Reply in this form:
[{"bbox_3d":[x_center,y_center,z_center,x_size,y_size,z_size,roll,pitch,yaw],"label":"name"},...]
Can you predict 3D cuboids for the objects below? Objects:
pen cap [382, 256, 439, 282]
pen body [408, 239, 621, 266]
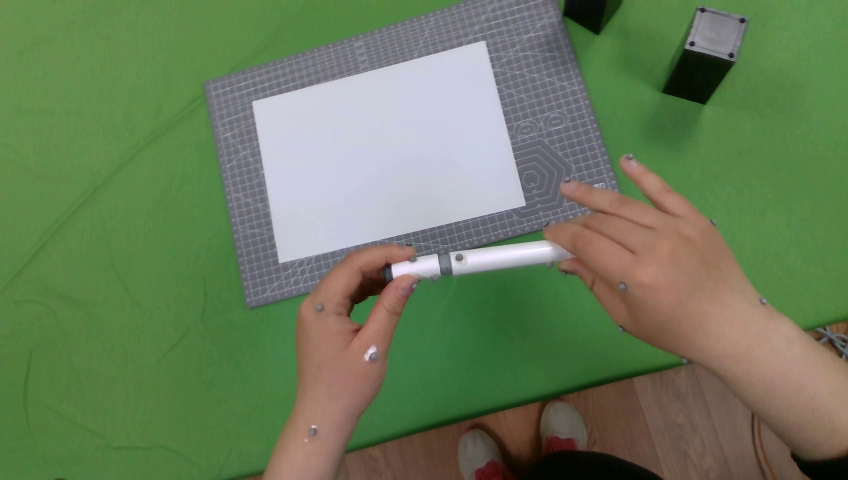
[{"bbox_3d":[-0.008,0.019,0.405,0.038,0.017,0.017,-8,78,-2],"label":"pen cap"},{"bbox_3d":[0.061,0.009,0.409,0.144,0.017,0.017,1,80,-4],"label":"pen body"}]
